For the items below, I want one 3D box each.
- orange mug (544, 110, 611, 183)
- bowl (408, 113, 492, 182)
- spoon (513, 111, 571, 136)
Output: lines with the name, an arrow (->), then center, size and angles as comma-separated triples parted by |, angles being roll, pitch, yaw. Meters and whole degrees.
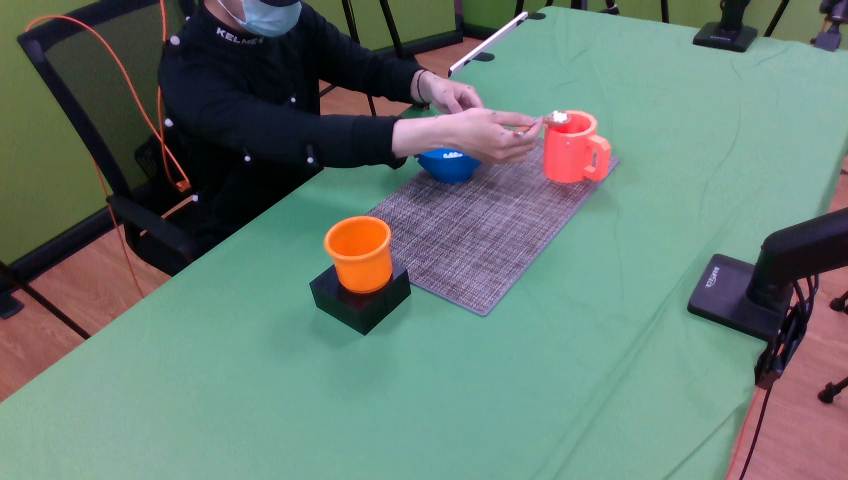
orange mug -> 0.266, -0.157, 1.049 | 0.084, 0.101, 0.125 | -33, 42, -26
bowl -> 0.049, -0.158, 1.097 | 0.151, 0.077, 0.150 | -4, 41, 4
spoon -> 0.186, -0.187, 0.963 | 0.041, 0.021, 0.195 | 26, 27, 26
